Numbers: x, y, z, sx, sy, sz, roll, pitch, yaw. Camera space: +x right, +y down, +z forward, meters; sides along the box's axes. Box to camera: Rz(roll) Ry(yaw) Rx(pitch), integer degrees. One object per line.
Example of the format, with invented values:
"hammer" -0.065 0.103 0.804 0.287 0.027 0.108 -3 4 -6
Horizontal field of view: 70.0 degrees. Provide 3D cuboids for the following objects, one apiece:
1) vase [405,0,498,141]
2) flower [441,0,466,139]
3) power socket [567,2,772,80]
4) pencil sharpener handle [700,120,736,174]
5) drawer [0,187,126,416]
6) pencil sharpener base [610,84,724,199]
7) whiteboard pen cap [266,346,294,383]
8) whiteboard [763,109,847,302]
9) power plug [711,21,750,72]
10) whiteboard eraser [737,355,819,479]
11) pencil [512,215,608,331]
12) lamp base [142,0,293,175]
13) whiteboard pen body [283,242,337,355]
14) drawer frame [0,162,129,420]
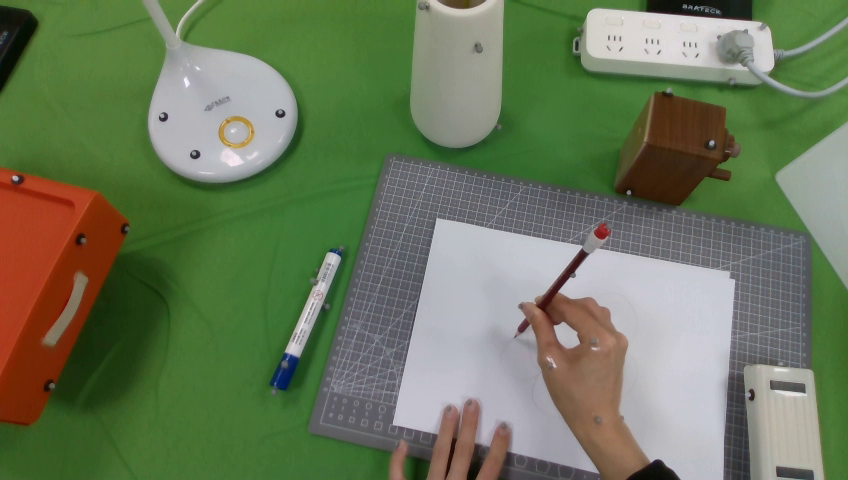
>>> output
"vase" 0.026 -0.180 0.585 0.098 0.201 0.097 -1 68 2
"flower" 0.036 -0.225 0.513 0.038 0.364 0.043 -1 51 -7
"power socket" 0.280 -0.227 0.690 0.227 0.033 0.072 6 70 2
"pencil sharpener handle" 0.288 -0.086 0.585 0.030 0.068 0.036 14 68 5
"drawer" -0.403 0.028 0.523 0.211 0.073 0.193 14 71 5
"pencil sharpener base" 0.239 -0.094 0.601 0.076 0.108 0.061 14 70 5
"whiteboard pen cap" -0.133 0.115 0.564 0.018 0.018 0.033 16 64 7
"whiteboard" 0.509 -0.065 0.517 0.144 0.306 0.215 -12 68 -24
"power plug" 0.327 -0.204 0.656 0.035 0.053 0.072 15 72 7
"whiteboard eraser" 0.312 0.161 0.538 0.055 0.042 0.112 6 70 1
"pencil" 0.105 0.036 0.505 0.012 0.195 0.012 7 57 -10
"lamp base" -0.234 -0.179 0.594 0.160 0.181 0.178 -42 72 -14
"whiteboard pen body" -0.114 0.064 0.587 0.017 0.017 0.140 16 67 7
"drawer frame" -0.410 0.028 0.525 0.213 0.083 0.200 14 71 3
